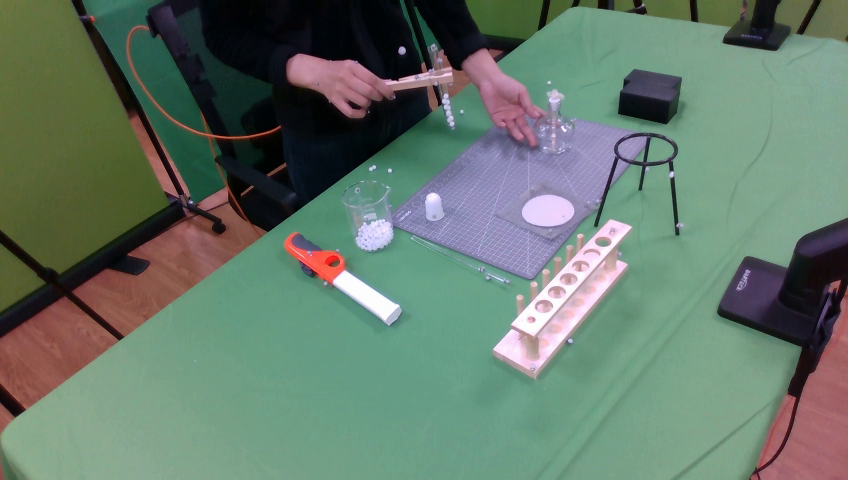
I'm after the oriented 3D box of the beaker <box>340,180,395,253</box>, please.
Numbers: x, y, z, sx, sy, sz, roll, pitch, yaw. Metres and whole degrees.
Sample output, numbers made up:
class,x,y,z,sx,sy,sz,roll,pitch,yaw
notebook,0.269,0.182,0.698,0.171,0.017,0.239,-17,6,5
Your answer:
class,x,y,z,sx,sy,sz,roll,pitch,yaw
beaker,-0.087,-0.037,0.985,0.084,0.101,0.073,-18,41,-11

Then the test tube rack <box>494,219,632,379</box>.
class,x,y,z,sx,sy,sz,roll,pitch,yaw
test tube rack,0.191,0.068,0.818,0.066,0.085,0.243,25,51,35

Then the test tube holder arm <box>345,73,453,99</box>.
class,x,y,z,sx,sy,sz,roll,pitch,yaw
test tube holder arm,-0.041,-0.249,0.975,0.178,0.015,0.013,-8,42,8

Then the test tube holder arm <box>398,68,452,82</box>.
class,x,y,z,sx,sy,sz,roll,pitch,yaw
test tube holder arm,0.002,-0.260,0.975,0.088,0.015,0.010,-13,42,2

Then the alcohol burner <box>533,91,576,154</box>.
class,x,y,z,sx,sy,sz,roll,pitch,yaw
alcohol burner,0.243,-0.222,1.124,0.078,0.119,0.077,-4,39,4

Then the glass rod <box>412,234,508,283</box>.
class,x,y,z,sx,sy,sz,roll,pitch,yaw
glass rod,0.052,0.027,0.951,0.198,0.008,0.008,26,52,37

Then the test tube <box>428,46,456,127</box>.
class,x,y,z,sx,sy,sz,roll,pitch,yaw
test tube,0.030,-0.246,0.985,0.017,0.151,0.017,-9,46,10

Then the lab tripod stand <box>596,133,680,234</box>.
class,x,y,z,sx,sy,sz,roll,pitch,yaw
lab tripod stand,0.338,-0.091,0.940,0.148,0.132,0.147,-7,39,6

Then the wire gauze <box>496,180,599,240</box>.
class,x,y,z,sx,sy,sz,roll,pitch,yaw
wire gauze,0.206,-0.050,1.012,0.125,0.011,0.120,-34,45,-26

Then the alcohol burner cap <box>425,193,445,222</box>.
class,x,y,z,sx,sy,sz,roll,pitch,yaw
alcohol burner cap,0.017,-0.058,1.029,0.034,0.048,0.033,-5,40,5

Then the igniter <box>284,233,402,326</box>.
class,x,y,z,sx,sy,sz,roll,pitch,yaw
igniter,-0.136,0.054,0.942,0.274,0.025,0.057,30,64,37
